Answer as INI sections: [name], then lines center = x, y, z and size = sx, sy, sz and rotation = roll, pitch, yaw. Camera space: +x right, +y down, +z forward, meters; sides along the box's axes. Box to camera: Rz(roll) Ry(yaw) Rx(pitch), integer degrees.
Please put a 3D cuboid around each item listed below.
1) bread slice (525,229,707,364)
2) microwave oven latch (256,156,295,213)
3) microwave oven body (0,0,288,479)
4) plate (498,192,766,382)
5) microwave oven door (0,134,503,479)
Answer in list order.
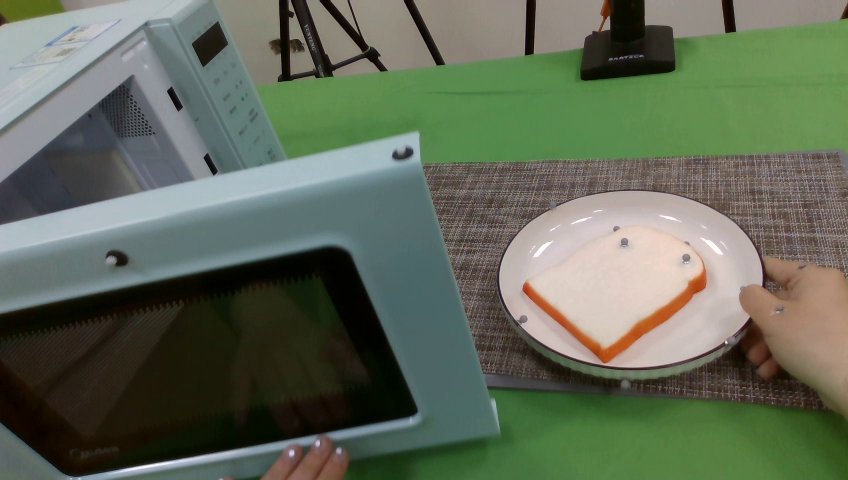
[bread slice]
center = 0.165, 0.036, 0.511
size = 0.131, 0.019, 0.103
rotation = -30, 41, -16
[microwave oven latch]
center = -0.185, -0.069, 0.742
size = 0.030, 0.030, 0.078
rotation = 1, 43, 20
[microwave oven body]
center = -0.391, -0.022, 0.606
size = 0.325, 0.263, 0.438
rotation = 0, 42, 19
[plate]
center = 0.167, 0.036, 0.507
size = 0.209, 0.038, 0.207
rotation = -11, 39, 9
[microwave oven door]
center = -0.144, 0.078, 0.387
size = 0.355, 0.246, 0.039
rotation = -12, 39, 6
